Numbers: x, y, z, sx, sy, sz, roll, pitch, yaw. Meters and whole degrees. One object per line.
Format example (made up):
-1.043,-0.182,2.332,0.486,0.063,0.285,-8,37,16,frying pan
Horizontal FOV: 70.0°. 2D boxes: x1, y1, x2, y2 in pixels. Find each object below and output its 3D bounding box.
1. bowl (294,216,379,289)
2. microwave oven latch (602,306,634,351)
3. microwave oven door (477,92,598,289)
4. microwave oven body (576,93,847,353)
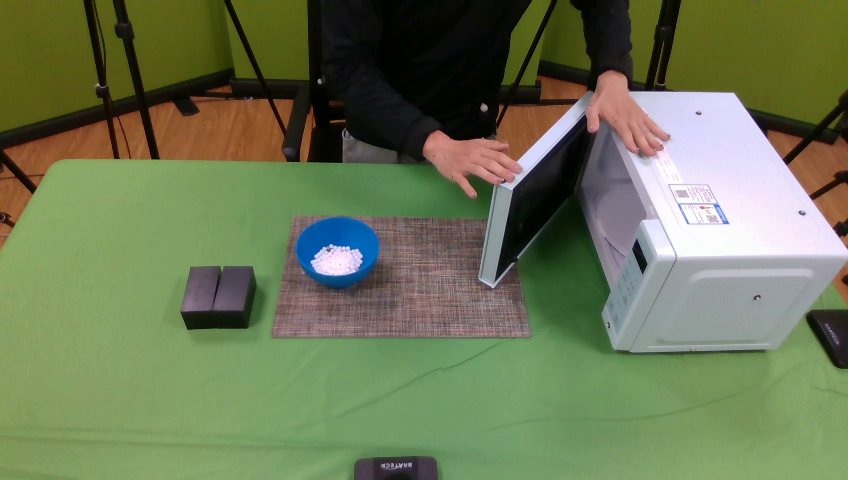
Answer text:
-0.158,0.036,1.110,0.151,0.077,0.150,3,45,-2,bowl
0.332,0.153,1.044,0.030,0.029,0.078,0,45,-4,microwave oven latch
0.220,-0.100,1.140,0.039,0.245,0.355,28,50,22,microwave oven door
0.475,-0.041,1.109,0.326,0.261,0.438,-1,45,-4,microwave oven body
